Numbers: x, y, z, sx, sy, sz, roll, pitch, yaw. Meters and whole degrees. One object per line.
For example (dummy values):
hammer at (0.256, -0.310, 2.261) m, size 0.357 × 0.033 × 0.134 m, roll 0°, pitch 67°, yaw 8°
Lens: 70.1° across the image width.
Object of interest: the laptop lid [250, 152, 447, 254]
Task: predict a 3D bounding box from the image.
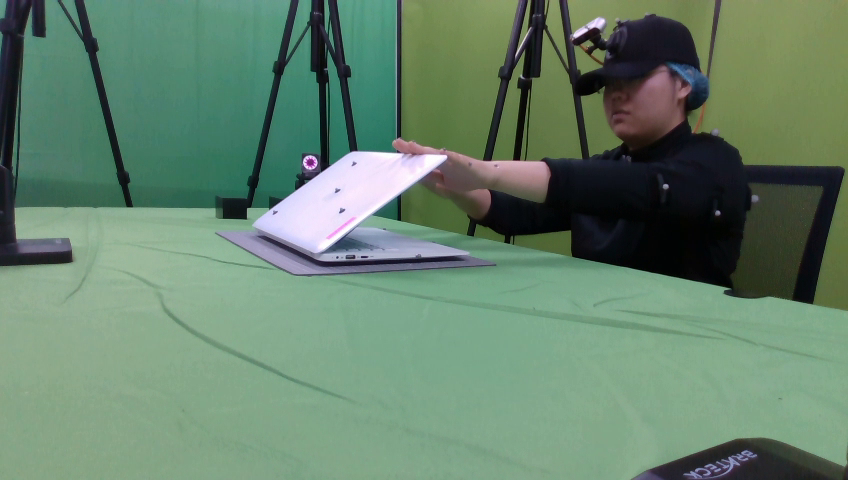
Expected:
laptop lid at (-0.135, -0.074, 0.947) m, size 0.242 × 0.013 × 0.355 m, roll -38°, pitch 24°, yaw -18°

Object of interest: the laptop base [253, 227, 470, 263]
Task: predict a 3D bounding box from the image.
laptop base at (-0.117, 0.005, 0.970) m, size 0.237 × 0.023 × 0.352 m, roll 2°, pitch 6°, yaw -30°
